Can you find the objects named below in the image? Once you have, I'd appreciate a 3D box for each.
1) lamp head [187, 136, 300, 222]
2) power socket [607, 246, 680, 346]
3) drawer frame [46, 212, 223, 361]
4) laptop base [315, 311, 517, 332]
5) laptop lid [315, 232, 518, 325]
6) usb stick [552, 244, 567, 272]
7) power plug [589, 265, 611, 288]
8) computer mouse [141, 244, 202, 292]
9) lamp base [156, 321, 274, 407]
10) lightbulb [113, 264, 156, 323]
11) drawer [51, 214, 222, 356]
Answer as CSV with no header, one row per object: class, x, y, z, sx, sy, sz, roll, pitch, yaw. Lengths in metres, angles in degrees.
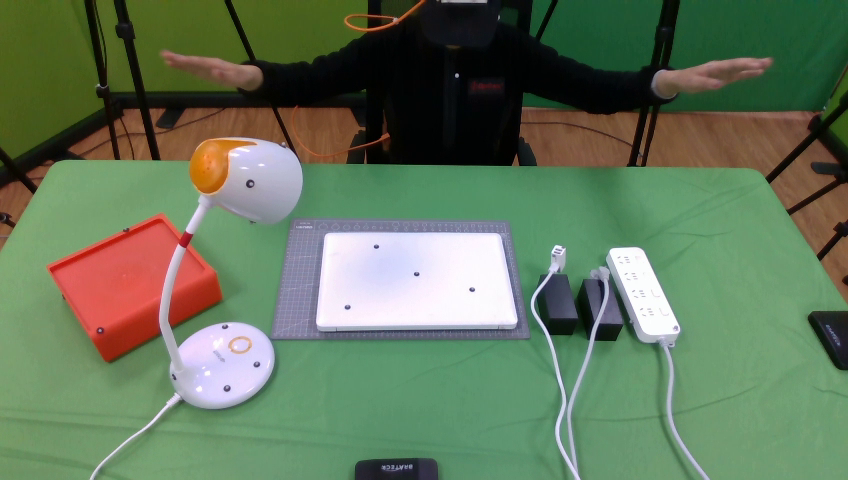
lamp head,-0.240,-0.081,0.773,0.112,0.112,0.123,35,15,27
power socket,0.403,0.096,1.123,0.072,0.033,0.225,-3,46,-5
drawer frame,-0.496,0.073,1.049,0.213,0.083,0.200,-33,56,-29
laptop base,-0.016,0.075,1.125,0.355,0.023,0.234,0,42,-4
laptop lid,-0.015,0.065,1.118,0.357,0.013,0.240,1,43,-3
usb stick,0.251,0.039,1.124,0.021,0.059,0.027,14,47,25
power plug,0.318,0.073,1.108,0.035,0.053,0.072,26,34,13
computer mouse,-0.460,0.044,1.099,0.116,0.041,0.063,29,52,29
lamp base,-0.328,0.151,0.916,0.160,0.181,0.179,29,53,22
lightbulb,-0.494,0.091,1.045,0.059,0.060,0.107,9,62,5
drawer,-0.495,0.072,1.053,0.212,0.073,0.193,-32,57,-29
